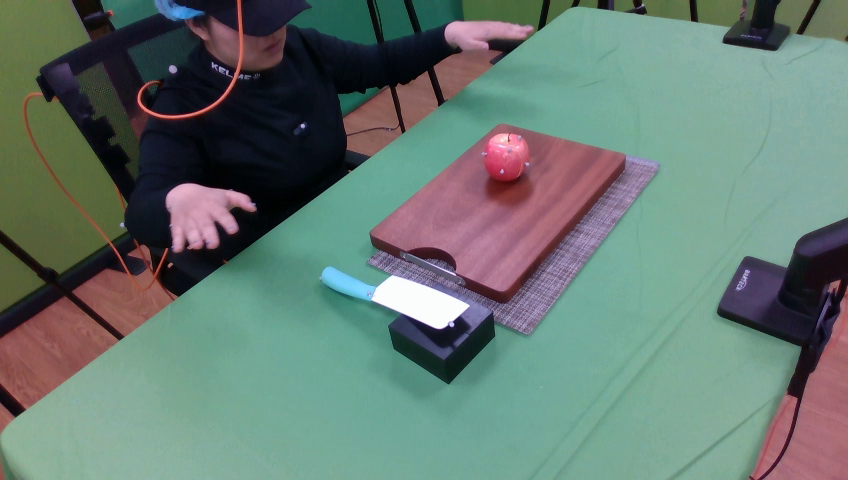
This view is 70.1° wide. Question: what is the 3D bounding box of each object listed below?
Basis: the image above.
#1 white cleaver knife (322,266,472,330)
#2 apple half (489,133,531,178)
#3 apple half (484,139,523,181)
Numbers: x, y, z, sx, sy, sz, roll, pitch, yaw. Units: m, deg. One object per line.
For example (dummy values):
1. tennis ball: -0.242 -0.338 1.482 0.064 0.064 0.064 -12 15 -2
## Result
1. white cleaver knife: -0.049 0.075 0.867 0.284 0.021 0.066 16 41 43
2. apple half: 0.153 -0.150 1.051 0.080 0.075 0.053 21 44 35
3. apple half: 0.128 -0.129 1.029 0.080 0.081 0.033 22 45 32
